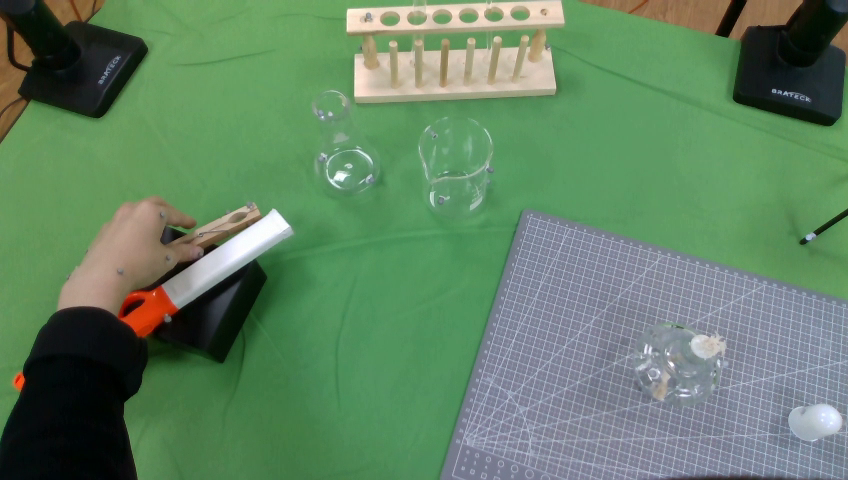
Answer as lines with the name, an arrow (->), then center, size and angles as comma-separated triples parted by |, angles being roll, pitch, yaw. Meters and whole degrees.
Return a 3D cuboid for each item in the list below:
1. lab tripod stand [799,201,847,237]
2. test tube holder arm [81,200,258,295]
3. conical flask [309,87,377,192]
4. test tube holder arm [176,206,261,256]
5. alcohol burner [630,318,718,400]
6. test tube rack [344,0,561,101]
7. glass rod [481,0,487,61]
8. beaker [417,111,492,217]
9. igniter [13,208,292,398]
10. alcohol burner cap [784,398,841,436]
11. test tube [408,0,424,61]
lab tripod stand -> 0.475, -0.048, 0.600 | 0.148, 0.132, 0.147 | 0, 65, -1
test tube holder arm -> -0.247, 0.007, 0.597 | 0.178, 0.015, 0.013 | -28, 67, -11
conical flask -> -0.092, -0.109, 0.642 | 0.075, 0.123, 0.075 | 0, 65, 1
test tube holder arm -> -0.205, -0.009, 0.604 | 0.088, 0.015, 0.010 | -27, 67, -11
alcohol burner -> 0.231, 0.102, 0.545 | 0.078, 0.120, 0.077 | 1, 65, -1
test tube rack -> 0.032, -0.222, 0.710 | 0.242, 0.086, 0.066 | -3, 66, 0
glass rod -> 0.065, -0.273, 0.660 | 0.008, 0.201, 0.008 | -2, 58, 4
beaker -> 0.029, -0.073, 0.637 | 0.073, 0.101, 0.084 | 31, 71, 15
igniter -> -0.250, 0.057, 0.571 | 0.276, 0.025, 0.056 | -36, 61, -15
alcohol burner cap -> 0.360, 0.160, 0.557 | 0.034, 0.048, 0.033 | 0, 66, 0
test tube -> -0.009, -0.258, 0.672 | 0.017, 0.151, 0.017 | 1, 60, -2
